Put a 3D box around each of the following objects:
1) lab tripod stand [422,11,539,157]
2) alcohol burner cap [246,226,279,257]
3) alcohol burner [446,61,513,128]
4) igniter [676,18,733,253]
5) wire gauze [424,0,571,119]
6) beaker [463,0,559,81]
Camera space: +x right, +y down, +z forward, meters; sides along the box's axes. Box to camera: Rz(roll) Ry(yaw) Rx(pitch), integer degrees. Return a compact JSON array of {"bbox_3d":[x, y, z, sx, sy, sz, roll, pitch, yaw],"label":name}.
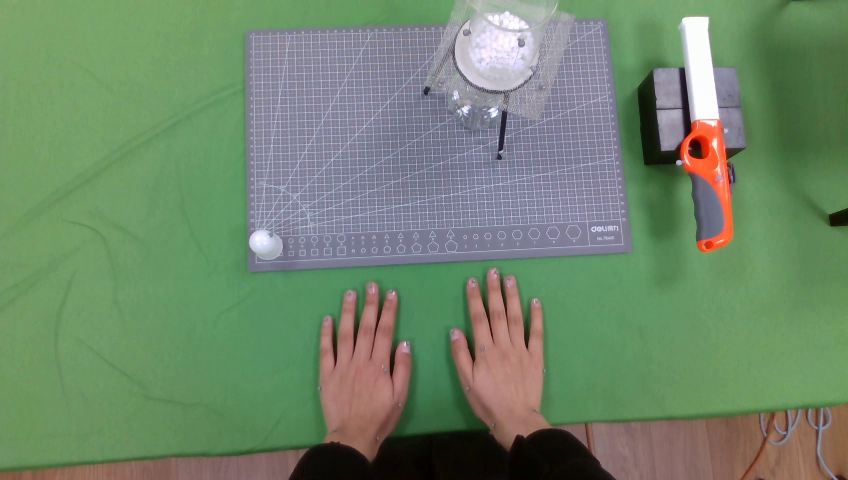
[{"bbox_3d":[0.072,-0.183,0.676,0.148,0.132,0.147,0,78,-2],"label":"lab tripod stand"},{"bbox_3d":[-0.183,0.000,0.680,0.034,0.048,0.033,1,78,-4],"label":"alcohol burner cap"},{"bbox_3d":[0.064,-0.172,0.684,0.078,0.119,0.077,0,82,-1],"label":"alcohol burner"},{"bbox_3d":[0.314,-0.122,0.685,0.057,0.025,0.275,-1,79,1],"label":"igniter"},{"bbox_3d":[0.076,-0.192,0.612,0.121,0.011,0.124,20,76,-1],"label":"wire gauze"},{"bbox_3d":[0.074,-0.200,0.564,0.084,0.100,0.073,-3,78,-2],"label":"beaker"}]
